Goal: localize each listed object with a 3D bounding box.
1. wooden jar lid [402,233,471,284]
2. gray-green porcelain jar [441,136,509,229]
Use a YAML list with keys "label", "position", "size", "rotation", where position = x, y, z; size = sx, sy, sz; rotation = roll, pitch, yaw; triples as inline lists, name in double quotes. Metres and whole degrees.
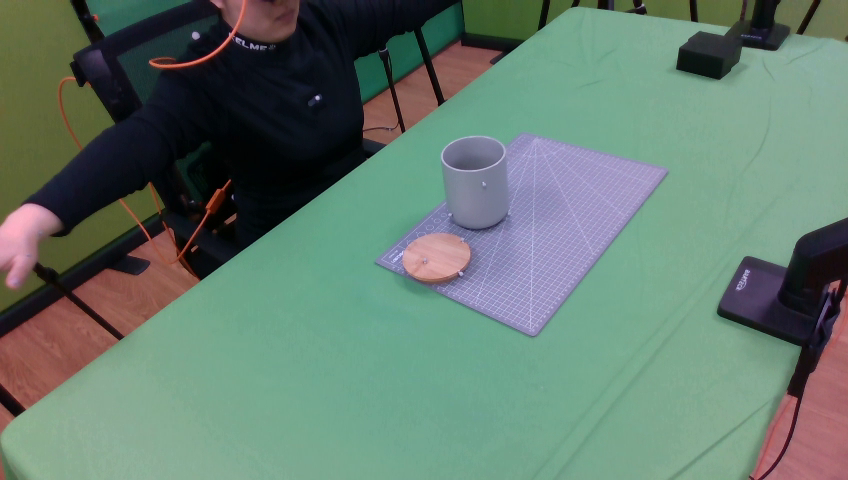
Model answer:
- label: "wooden jar lid"
  position: [0.020, 0.030, 0.941]
  size: [0.108, 0.021, 0.108]
  rotation: [-4, 40, 4]
- label: "gray-green porcelain jar"
  position: [0.086, -0.090, 0.988]
  size: [0.106, 0.127, 0.105]
  rotation: [-5, 40, 5]
